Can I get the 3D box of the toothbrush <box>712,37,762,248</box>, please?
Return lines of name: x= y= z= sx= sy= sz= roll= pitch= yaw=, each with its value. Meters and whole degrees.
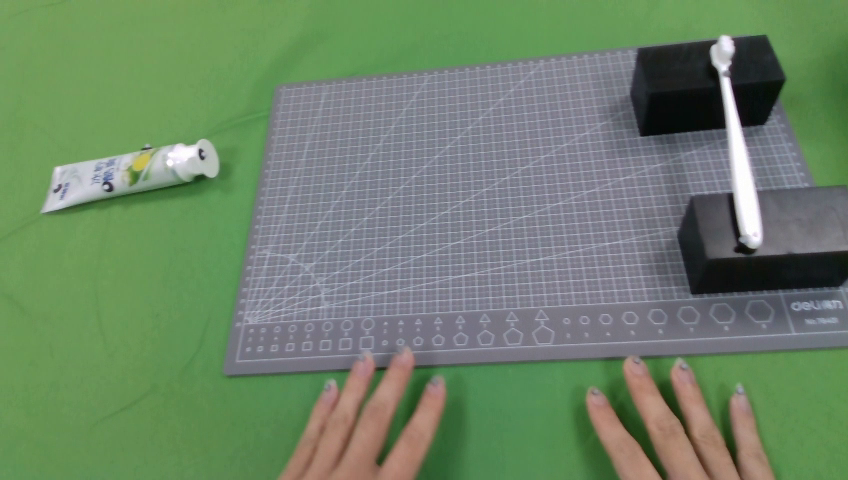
toothbrush: x=0.219 y=-0.075 z=0.423 sx=0.014 sy=0.017 sz=0.180 roll=10 pitch=61 yaw=-2

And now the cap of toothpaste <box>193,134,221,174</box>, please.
cap of toothpaste: x=-0.194 y=-0.076 z=0.541 sx=0.011 sy=0.038 sz=0.037 roll=-9 pitch=57 yaw=9

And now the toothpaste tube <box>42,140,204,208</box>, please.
toothpaste tube: x=-0.271 y=-0.066 z=0.554 sx=0.165 sy=0.035 sz=0.054 roll=-9 pitch=55 yaw=8
